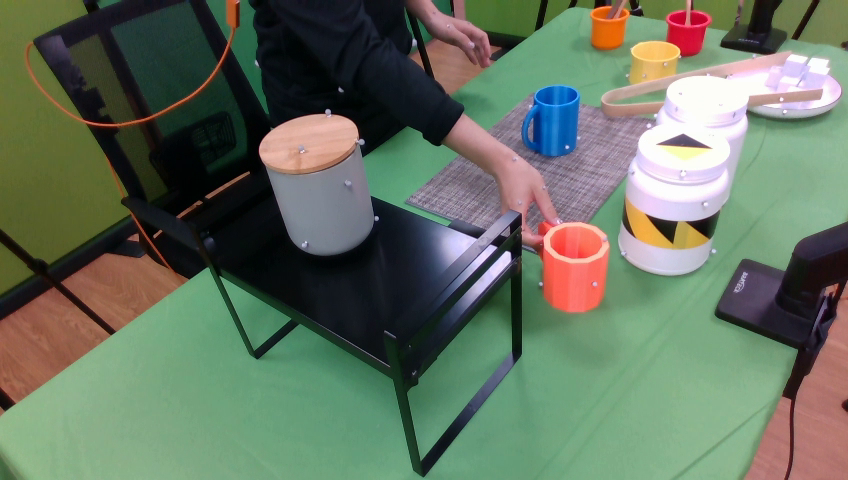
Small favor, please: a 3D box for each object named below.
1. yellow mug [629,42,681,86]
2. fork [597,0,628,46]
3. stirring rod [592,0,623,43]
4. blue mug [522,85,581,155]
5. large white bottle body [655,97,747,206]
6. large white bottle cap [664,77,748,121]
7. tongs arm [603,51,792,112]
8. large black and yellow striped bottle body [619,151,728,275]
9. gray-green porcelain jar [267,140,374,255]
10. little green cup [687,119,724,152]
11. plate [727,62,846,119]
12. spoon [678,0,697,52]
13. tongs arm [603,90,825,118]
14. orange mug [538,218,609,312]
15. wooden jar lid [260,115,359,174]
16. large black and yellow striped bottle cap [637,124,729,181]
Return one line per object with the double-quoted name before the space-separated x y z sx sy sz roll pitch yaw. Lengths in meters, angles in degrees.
"yellow mug" 0.495 -0.389 1.321 0.100 0.064 0.130 -14 40 -6
"fork" 0.479 -0.558 1.455 0.028 0.019 0.207 35 100 38
"stirring rod" 0.460 -0.557 1.461 0.014 0.176 0.006 35 11 22
"blue mug" 0.233 -0.218 1.127 0.117 0.106 0.081 -23 43 -16
"large white bottle body" 0.430 -0.148 0.959 0.130 0.185 0.130 -4 41 4
"large white bottle cap" 0.421 -0.212 0.905 0.115 0.018 0.114 -4 40 4
"tongs arm" 0.552 -0.320 1.223 0.384 0.027 0.050 -10 44 7
"large black and yellow striped bottle body" 0.354 -0.056 0.865 0.131 0.185 0.130 -4 41 4
"gray-green porcelain jar" -0.117 -0.054 0.703 0.106 0.127 0.105 -4 40 4
"little green cup" 0.514 -0.191 1.109 0.061 0.039 0.061 -5 40 5
"plate" 0.709 -0.292 1.197 0.207 0.039 0.206 -4 40 4
"spoon" 0.614 -0.526 1.402 0.041 0.022 0.193 3 86 11
"tongs arm" 0.546 -0.262 1.162 0.386 0.028 0.028 -1 49 18
"orange mug" 0.202 0.026 0.858 0.084 0.101 0.125 -21 47 -16
"wooden jar lid" -0.124 -0.101 0.662 0.108 0.021 0.108 -4 41 4
"large black and yellow striped bottle cap" 0.346 -0.119 0.810 0.115 0.019 0.114 -5 41 5
